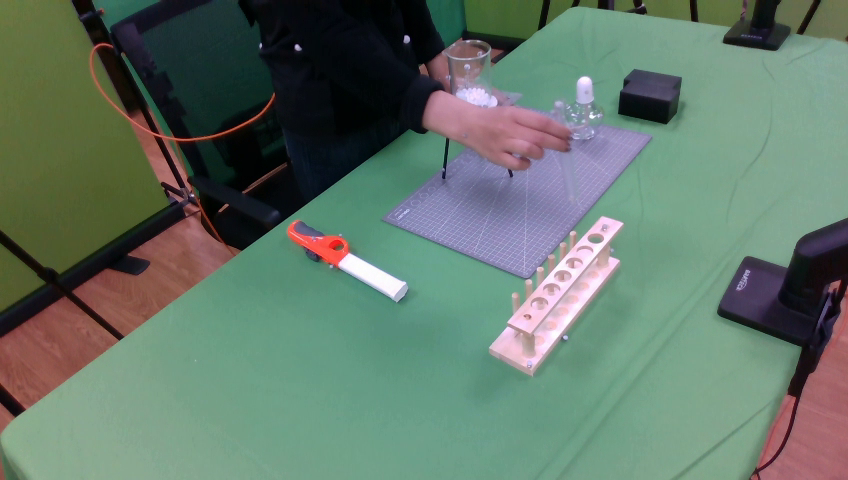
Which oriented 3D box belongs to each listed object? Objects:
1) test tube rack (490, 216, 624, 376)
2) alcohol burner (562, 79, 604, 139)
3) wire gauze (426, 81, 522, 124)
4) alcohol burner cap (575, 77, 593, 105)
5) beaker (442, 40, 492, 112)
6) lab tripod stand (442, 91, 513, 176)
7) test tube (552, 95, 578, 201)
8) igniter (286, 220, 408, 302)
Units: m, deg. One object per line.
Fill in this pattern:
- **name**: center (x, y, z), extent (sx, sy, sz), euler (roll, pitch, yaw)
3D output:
- **test tube rack**: center (0.184, 0.064, 0.822), extent (0.066, 0.085, 0.243), euler (24, 50, 33)
- **alcohol burner**: center (0.303, -0.253, 1.147), extent (0.078, 0.119, 0.077), euler (-4, 41, 4)
- **wire gauze**: center (0.088, -0.237, 1.051), extent (0.120, 0.011, 0.125), euler (23, 47, 29)
- **alcohol burner cap**: center (0.297, -0.279, 1.124), extent (0.034, 0.048, 0.033), euler (-8, 41, 8)
- **beaker**: center (0.075, -0.276, 1.023), extent (0.083, 0.101, 0.074), euler (5, 41, 15)
- **lab tripod stand**: center (0.096, -0.190, 1.096), extent (0.148, 0.132, 0.147), euler (-4, 40, 4)
- **test tube**: center (0.182, -0.114, 0.775), extent (0.017, 0.151, 0.017), euler (-12, 34, 9)
- **igniter**: center (-0.134, 0.028, 0.969), extent (0.274, 0.025, 0.057), euler (26, 61, 35)
